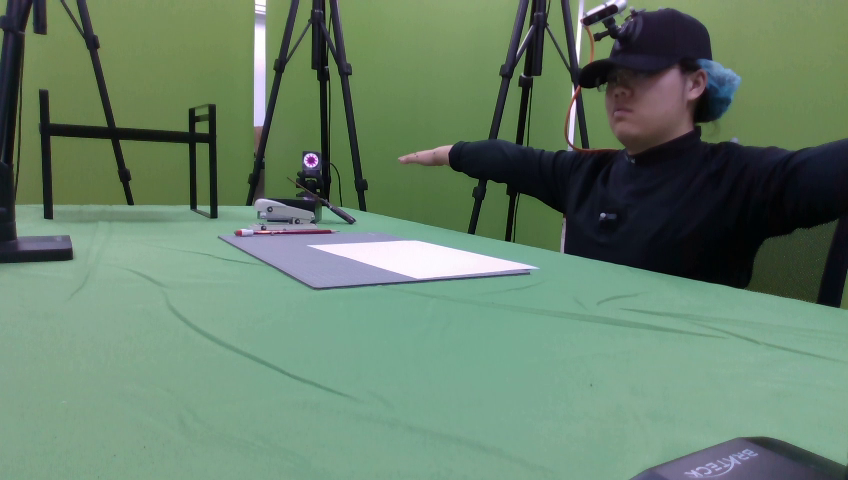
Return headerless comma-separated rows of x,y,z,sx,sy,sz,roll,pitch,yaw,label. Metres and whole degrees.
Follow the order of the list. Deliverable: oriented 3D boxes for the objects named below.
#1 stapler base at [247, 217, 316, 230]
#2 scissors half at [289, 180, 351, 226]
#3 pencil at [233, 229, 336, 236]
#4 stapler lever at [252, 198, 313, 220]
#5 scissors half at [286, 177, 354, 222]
-0.276,-0.033,1.172,0.131,0.024,0.041,0,10,-37,stapler base
-0.233,-0.085,1.318,0.175,0.013,0.040,38,21,4,scissors half
-0.240,-0.014,1.066,0.195,0.012,0.012,-1,8,-37,pencil
-0.273,-0.059,1.170,0.119,0.040,0.026,0,10,-37,stapler lever
-0.230,-0.091,1.337,0.175,0.013,0.040,32,16,-13,scissors half
